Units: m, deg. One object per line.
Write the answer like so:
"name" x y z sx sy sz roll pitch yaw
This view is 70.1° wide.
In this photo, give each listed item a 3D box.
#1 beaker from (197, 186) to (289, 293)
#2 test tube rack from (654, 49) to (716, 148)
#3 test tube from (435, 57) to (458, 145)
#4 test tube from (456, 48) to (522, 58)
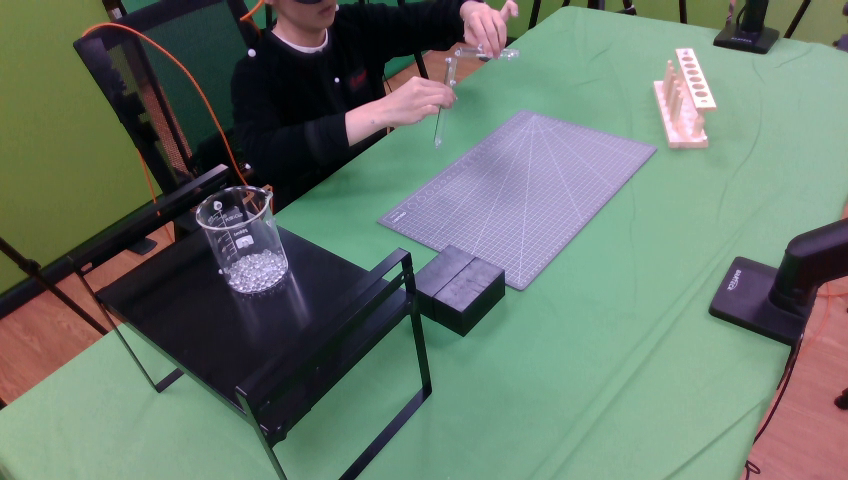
"beaker" -0.192 0.001 0.666 0.084 0.101 0.073 -33 47 -27
"test tube rack" 0.502 -0.281 1.176 0.066 0.085 0.241 1 41 11
"test tube" 0.038 -0.237 1.042 0.017 0.150 0.017 9 21 -3
"test tube" 0.117 -0.327 1.056 0.151 0.017 0.017 -14 37 -36
